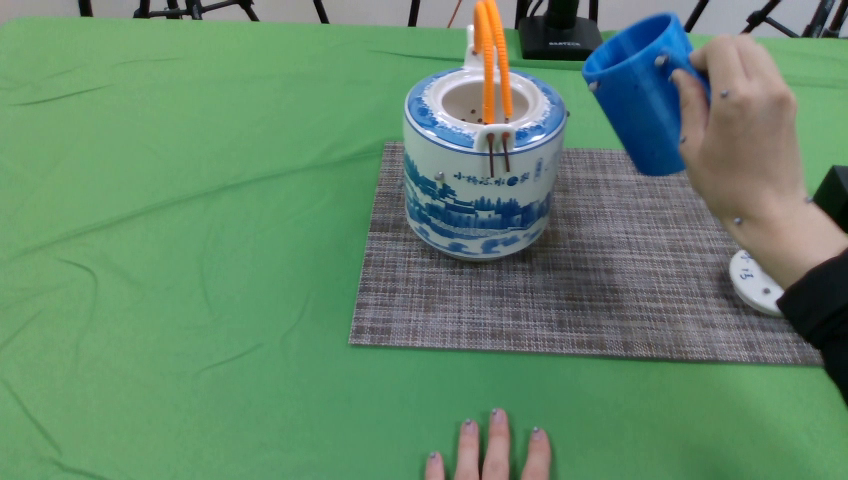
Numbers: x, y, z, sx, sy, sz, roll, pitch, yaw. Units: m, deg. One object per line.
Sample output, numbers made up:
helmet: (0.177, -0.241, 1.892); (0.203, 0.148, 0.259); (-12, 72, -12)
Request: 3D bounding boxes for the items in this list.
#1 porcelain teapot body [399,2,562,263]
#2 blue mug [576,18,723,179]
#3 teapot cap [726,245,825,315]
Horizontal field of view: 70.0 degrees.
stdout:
porcelain teapot body: (0.047, -0.116, 0.569); (0.145, 0.227, 0.203); (-3, 44, -4)
blue mug: (0.193, -0.112, 0.493); (0.082, 0.106, 0.115); (-38, 21, -2)
teapot cap: (0.320, 0.031, 0.551); (0.085, 0.044, 0.084); (2, 43, -2)
